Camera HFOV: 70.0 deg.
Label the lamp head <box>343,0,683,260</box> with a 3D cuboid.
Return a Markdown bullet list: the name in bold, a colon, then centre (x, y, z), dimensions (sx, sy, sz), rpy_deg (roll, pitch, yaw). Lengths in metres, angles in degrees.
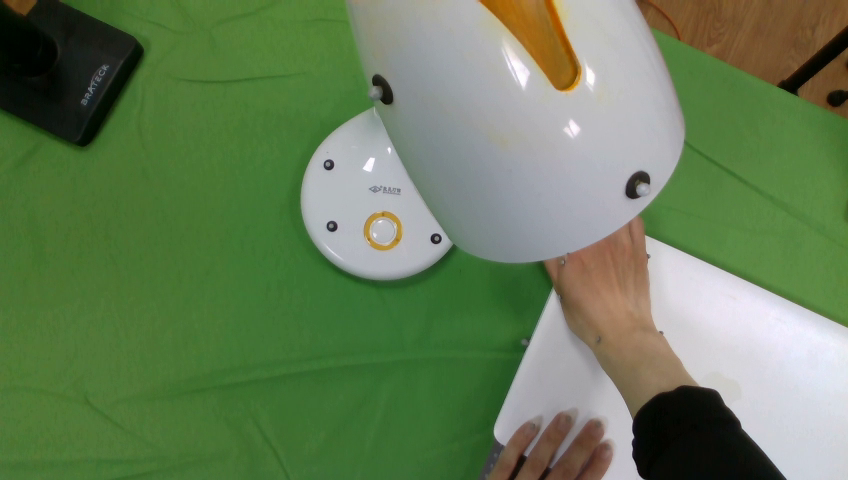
- **lamp head**: centre (0.024, -0.071, 0.225), dimensions (0.112, 0.111, 0.124), rpy_deg (-46, 127, -7)

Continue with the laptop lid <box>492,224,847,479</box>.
- **laptop lid**: centre (0.265, 0.146, 0.558), dimensions (0.356, 0.013, 0.241), rpy_deg (26, 83, 2)

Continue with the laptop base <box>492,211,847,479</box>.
- **laptop base**: centre (0.266, 0.146, 0.570), dimensions (0.354, 0.023, 0.235), rpy_deg (25, 84, 2)

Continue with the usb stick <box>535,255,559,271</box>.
- **usb stick**: centre (0.110, 0.002, 0.577), dimensions (0.021, 0.027, 0.059), rpy_deg (-34, 89, -16)

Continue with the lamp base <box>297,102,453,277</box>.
- **lamp base**: centre (-0.040, -0.068, 0.507), dimensions (0.161, 0.181, 0.178), rpy_deg (-5, 79, -3)

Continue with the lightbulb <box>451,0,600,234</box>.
- **lightbulb**: centre (0.036, -0.047, 0.240), dimensions (0.059, 0.109, 0.059), rpy_deg (-13, 47, 15)
